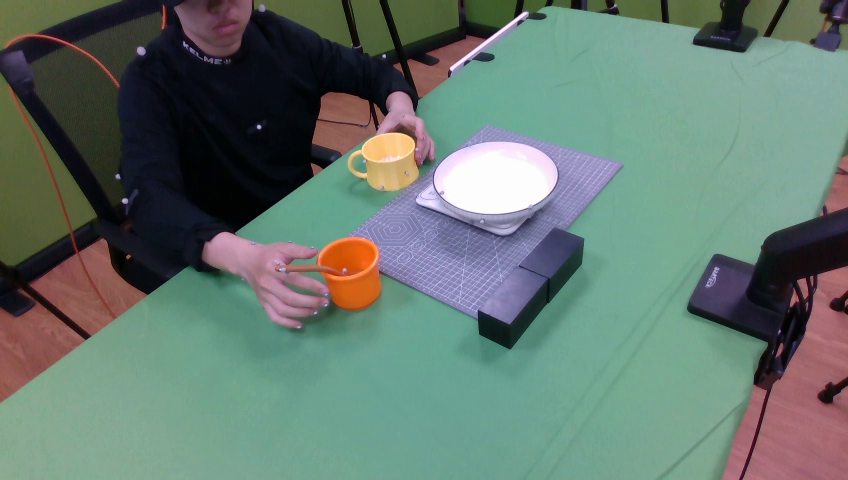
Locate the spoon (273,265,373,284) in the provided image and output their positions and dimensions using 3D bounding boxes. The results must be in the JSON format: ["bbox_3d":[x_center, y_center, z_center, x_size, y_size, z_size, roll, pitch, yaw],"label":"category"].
[{"bbox_3d":[-0.136,0.045,0.839,0.041,0.195,0.021,18,91,33],"label":"spoon"}]

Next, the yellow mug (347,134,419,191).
[{"bbox_3d":[-0.078,-0.142,1.115,0.131,0.064,0.099,-6,39,3],"label":"yellow mug"}]

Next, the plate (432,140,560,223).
[{"bbox_3d":[0.118,-0.094,0.999,0.209,0.038,0.208,-4,41,4],"label":"plate"}]

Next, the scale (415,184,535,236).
[{"bbox_3d":[0.099,-0.080,1.035,0.199,0.032,0.149,23,48,31],"label":"scale"}]
